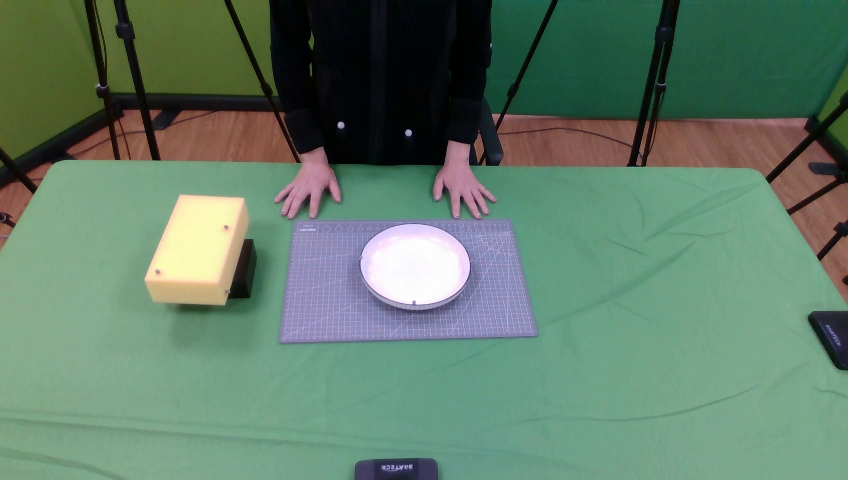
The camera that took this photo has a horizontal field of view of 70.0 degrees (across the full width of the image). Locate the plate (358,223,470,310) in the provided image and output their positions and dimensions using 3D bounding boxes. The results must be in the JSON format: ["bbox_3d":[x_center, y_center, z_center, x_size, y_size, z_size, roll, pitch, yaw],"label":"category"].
[{"bbox_3d":[-0.019,0.052,1.132,0.209,0.038,0.208,2,46,-2],"label":"plate"}]

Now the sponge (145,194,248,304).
[{"bbox_3d":[-0.391,0.012,1.059,0.118,0.061,0.205,2,46,-3],"label":"sponge"}]
